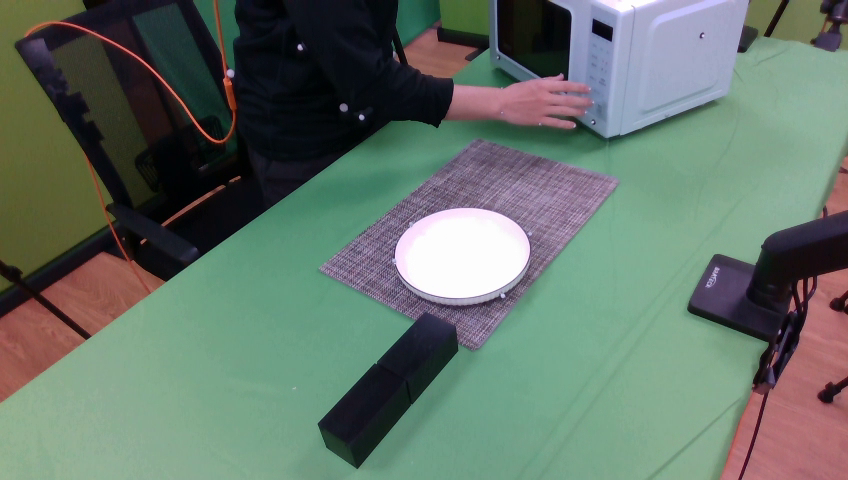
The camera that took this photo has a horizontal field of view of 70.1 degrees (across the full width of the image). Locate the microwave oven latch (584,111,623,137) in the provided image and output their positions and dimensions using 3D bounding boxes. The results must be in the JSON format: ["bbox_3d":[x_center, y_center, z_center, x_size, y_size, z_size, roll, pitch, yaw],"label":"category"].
[{"bbox_3d":[0.337,-0.222,1.142,0.030,0.029,0.078,-21,42,-14],"label":"microwave oven latch"}]

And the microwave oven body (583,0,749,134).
[{"bbox_3d":[0.382,-0.444,1.246,0.327,0.261,0.437,-22,42,-16],"label":"microwave oven body"}]

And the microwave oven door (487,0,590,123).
[{"bbox_3d":[0.232,-0.420,1.231,0.039,0.245,0.352,-22,43,-16],"label":"microwave oven door"}]

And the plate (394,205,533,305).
[{"bbox_3d":[0.059,0.025,0.915,0.207,0.039,0.206,-4,41,4],"label":"plate"}]
